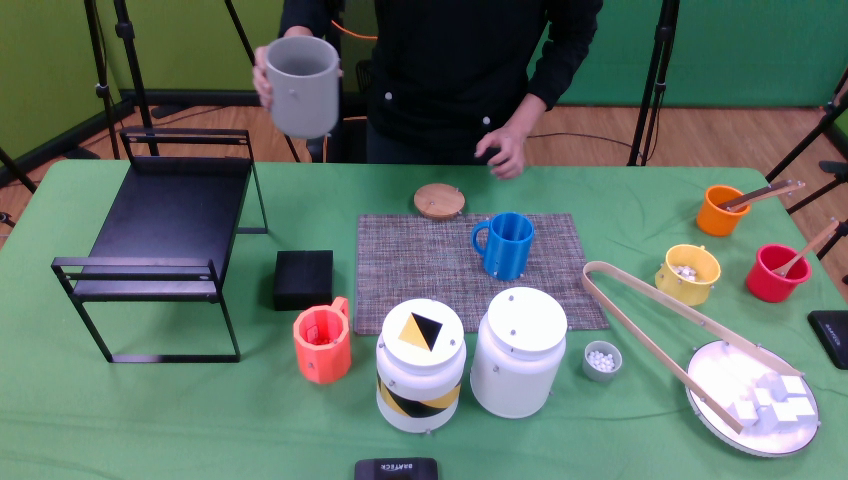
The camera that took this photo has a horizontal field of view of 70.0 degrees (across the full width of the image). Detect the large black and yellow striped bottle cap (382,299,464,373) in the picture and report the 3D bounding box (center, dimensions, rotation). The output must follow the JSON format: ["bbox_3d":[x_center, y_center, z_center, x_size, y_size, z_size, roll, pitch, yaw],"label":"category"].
[{"bbox_3d":[-0.002,0.132,0.843,0.115,0.019,0.114,2,46,-1],"label":"large black and yellow striped bottle cap"}]

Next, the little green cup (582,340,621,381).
[{"bbox_3d":[0.295,0.204,1.014,0.061,0.039,0.061,2,45,-2],"label":"little green cup"}]

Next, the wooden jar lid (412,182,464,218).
[{"bbox_3d":[0.029,-0.083,1.276,0.108,0.021,0.107,3,43,-3],"label":"wooden jar lid"}]

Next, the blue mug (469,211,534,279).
[{"bbox_3d":[0.141,0.005,1.140,0.116,0.106,0.082,18,48,13],"label":"blue mug"}]

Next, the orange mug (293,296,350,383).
[{"bbox_3d":[-0.157,0.154,0.985,0.083,0.101,0.125,17,52,11],"label":"orange mug"}]

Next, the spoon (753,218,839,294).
[{"bbox_3d":[0.700,0.031,1.138,0.194,0.022,0.041,-47,54,14],"label":"spoon"}]

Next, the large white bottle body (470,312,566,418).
[{"bbox_3d":[0.143,0.173,0.930,0.131,0.185,0.130,2,46,-2],"label":"large white bottle body"}]

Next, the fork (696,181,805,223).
[{"bbox_3d":[0.659,-0.077,1.232,0.207,0.019,0.028,-26,35,34],"label":"fork"}]

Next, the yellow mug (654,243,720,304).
[{"bbox_3d":[0.504,0.054,1.154,0.099,0.064,0.130,28,50,22],"label":"yellow mug"}]

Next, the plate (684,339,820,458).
[{"bbox_3d":[0.523,0.256,0.982,0.208,0.039,0.206,2,46,-2],"label":"plate"}]

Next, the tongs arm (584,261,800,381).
[{"bbox_3d":[0.452,0.137,1.064,0.051,0.027,0.382,-34,50,-27],"label":"tongs arm"}]

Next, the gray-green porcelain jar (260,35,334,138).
[{"bbox_3d":[-0.190,-0.228,0.924,0.106,0.127,0.105,4,50,-5],"label":"gray-green porcelain jar"}]

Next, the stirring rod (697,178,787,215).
[{"bbox_3d":[0.650,-0.088,1.245,0.006,0.176,0.014,29,49,-39],"label":"stirring rod"}]

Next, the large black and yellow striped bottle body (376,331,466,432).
[{"bbox_3d":[-0.007,0.189,0.905,0.131,0.185,0.130,2,46,-2],"label":"large black and yellow striped bottle body"}]

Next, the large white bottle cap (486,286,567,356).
[{"bbox_3d":[0.147,0.114,0.869,0.115,0.018,0.114,3,46,-3],"label":"large white bottle cap"}]

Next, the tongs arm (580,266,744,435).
[{"bbox_3d":[0.384,0.173,1.028,0.028,0.028,0.385,-25,46,-15],"label":"tongs arm"}]
